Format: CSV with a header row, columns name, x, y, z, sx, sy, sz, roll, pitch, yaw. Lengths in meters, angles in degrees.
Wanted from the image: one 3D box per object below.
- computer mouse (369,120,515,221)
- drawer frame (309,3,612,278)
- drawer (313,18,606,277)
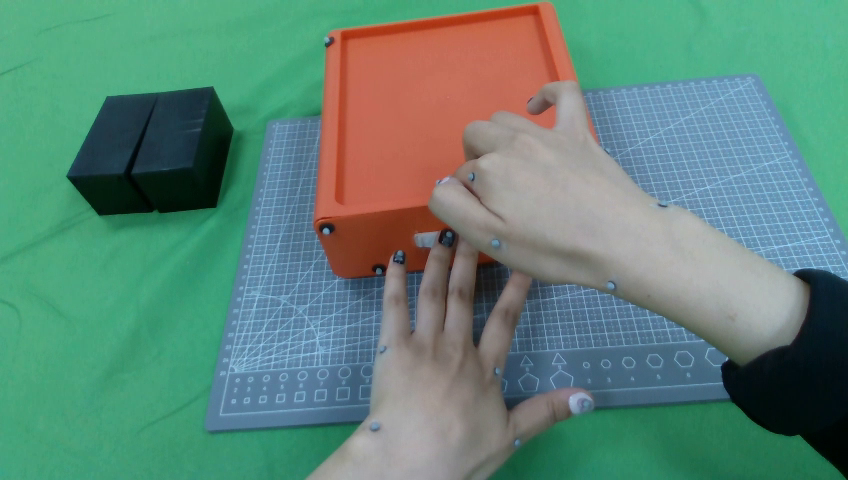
name,x,y,z,sx,sy,sz,roll,pitch,yaw
computer mouse,0.011,-0.054,0.464,0.117,0.041,0.062,-12,53,17
drawer frame,0.020,-0.083,0.481,0.201,0.083,0.211,-8,52,3
drawer,0.020,-0.080,0.480,0.194,0.074,0.209,-7,52,4
